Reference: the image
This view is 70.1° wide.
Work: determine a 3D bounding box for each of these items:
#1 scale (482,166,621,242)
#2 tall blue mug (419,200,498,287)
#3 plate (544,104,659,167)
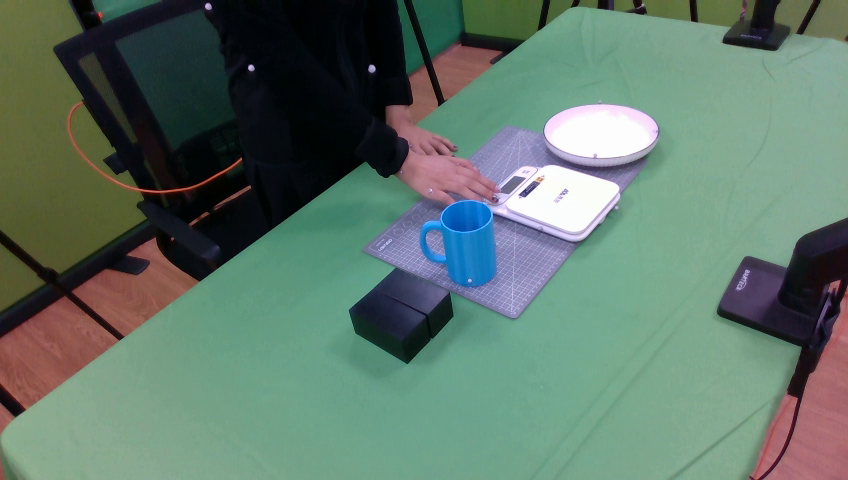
[{"bbox_3d":[0.211,-0.070,1.014,0.199,0.032,0.149,23,49,33],"label":"scale"},{"bbox_3d":[0.053,0.010,0.889,0.107,0.108,0.077,-15,41,-7],"label":"tall blue mug"},{"bbox_3d":[0.328,-0.192,1.131,0.209,0.038,0.208,-4,39,4],"label":"plate"}]
